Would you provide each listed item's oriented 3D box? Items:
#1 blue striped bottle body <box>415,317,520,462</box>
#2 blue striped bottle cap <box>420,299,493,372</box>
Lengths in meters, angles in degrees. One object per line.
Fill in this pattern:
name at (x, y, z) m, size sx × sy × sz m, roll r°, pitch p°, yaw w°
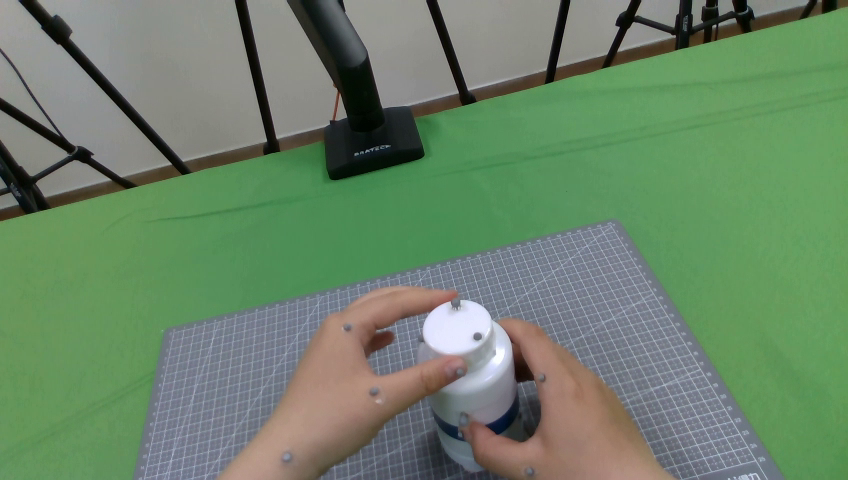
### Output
blue striped bottle body at (0.030, 0.094, 0.408) m, size 0.063 × 0.122 × 0.062 m, roll -7°, pitch 44°, yaw 7°
blue striped bottle cap at (0.020, 0.058, 0.373) m, size 0.044 × 0.021 × 0.044 m, roll -6°, pitch 41°, yaw 6°
